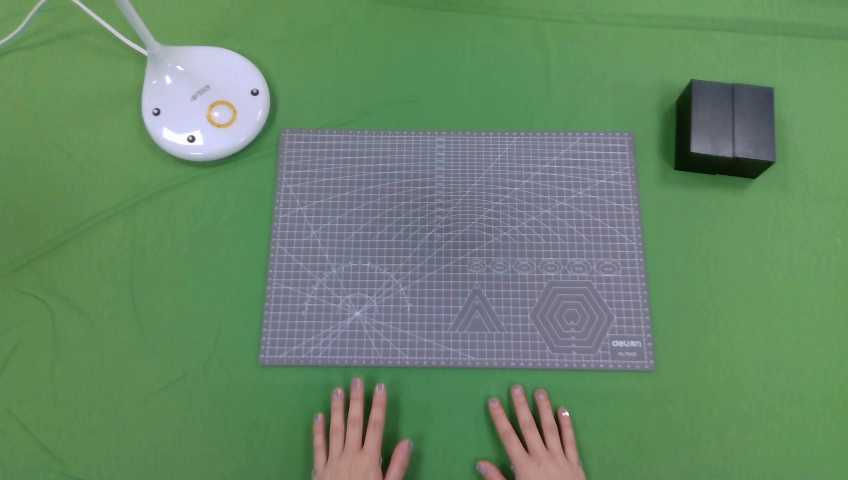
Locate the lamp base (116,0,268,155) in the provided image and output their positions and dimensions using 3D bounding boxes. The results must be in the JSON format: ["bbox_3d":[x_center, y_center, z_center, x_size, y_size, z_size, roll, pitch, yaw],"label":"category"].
[{"bbox_3d":[-0.292,-0.212,0.703,0.178,0.181,0.160,34,76,13],"label":"lamp base"}]
